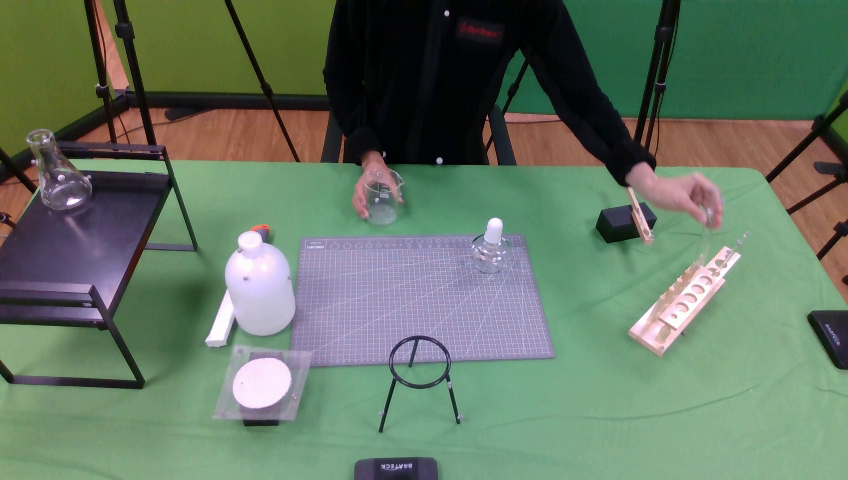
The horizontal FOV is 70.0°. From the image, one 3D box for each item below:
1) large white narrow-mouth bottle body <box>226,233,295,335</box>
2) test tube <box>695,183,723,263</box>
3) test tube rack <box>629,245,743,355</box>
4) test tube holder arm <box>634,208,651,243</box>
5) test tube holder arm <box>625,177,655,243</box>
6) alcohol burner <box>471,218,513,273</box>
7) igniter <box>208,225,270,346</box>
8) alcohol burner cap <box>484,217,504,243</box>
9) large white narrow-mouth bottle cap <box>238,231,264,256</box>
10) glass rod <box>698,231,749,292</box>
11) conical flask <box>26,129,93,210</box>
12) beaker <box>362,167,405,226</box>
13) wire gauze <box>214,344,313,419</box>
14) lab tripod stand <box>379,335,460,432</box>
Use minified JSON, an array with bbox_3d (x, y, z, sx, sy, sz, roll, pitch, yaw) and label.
[{"bbox_3d":[-0.270,0.065,0.995,0.102,0.195,0.101,2,46,-2],"label":"large white narrow-mouth bottle body"},{"bbox_3d":[0.457,-0.024,0.974,0.017,0.151,0.017,-4,35,3],"label":"test tube"},{"bbox_3d":[0.474,0.095,1.091,0.242,0.085,0.066,-34,56,-31],"label":"test tube rack"},{"bbox_3d":[0.428,-0.030,1.189,0.010,0.015,0.087,2,47,-1],"label":"test tube holder arm"},{"bbox_3d":[0.433,-0.062,1.220,0.013,0.015,0.177,1,47,-2],"label":"test tube holder arm"},{"bbox_3d":[0.128,0.005,1.132,0.078,0.120,0.077,0,47,0],"label":"alcohol burner"},{"bbox_3d":[-0.331,0.072,1.099,0.057,0.025,0.275,-4,45,10],"label":"igniter"},{"bbox_3d":[0.129,-0.021,1.107,0.034,0.048,0.033,4,41,-3],"label":"alcohol burner cap"},{"bbox_3d":[-0.266,0.006,0.932,0.038,0.024,0.037,2,46,-2],"label":"large white narrow-mouth bottle cap"},{"bbox_3d":[0.515,0.044,1.051,0.008,0.200,0.008,1,55,-1],"label":"glass rod"},{"bbox_3d":[-0.575,-0.113,0.946,0.075,0.122,0.075,2,46,-2],"label":"conical flask"},{"bbox_3d":[-0.083,-0.085,1.218,0.084,0.101,0.073,0,48,-7],"label":"beaker"},{"bbox_3d":[-0.241,0.213,0.915,0.121,0.011,0.124,5,46,1],"label":"wire gauze"},{"bbox_3d":[-0.010,0.214,0.911,0.148,0.132,0.147,1,45,0],"label":"lab tripod stand"}]
